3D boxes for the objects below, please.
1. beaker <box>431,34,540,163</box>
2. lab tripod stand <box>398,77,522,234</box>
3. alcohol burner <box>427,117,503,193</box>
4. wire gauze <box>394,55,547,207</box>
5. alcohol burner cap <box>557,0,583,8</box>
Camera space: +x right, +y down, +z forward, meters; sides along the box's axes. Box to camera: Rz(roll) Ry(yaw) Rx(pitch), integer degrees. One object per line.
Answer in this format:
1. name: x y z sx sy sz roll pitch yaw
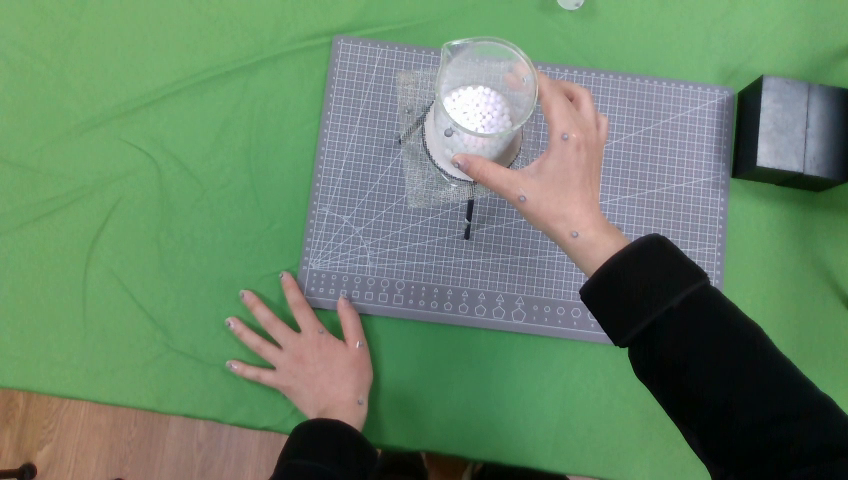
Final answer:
1. beaker: 0.040 -0.107 0.477 0.074 0.100 0.084 -42 87 -6
2. lab tripod stand: 0.041 -0.086 0.589 0.148 0.131 0.148 0 84 -4
3. alcohol burner: 0.042 -0.089 0.599 0.078 0.119 0.077 0 81 -1
4. wire gauze: 0.039 -0.096 0.524 0.121 0.011 0.125 -6 87 -1
5. alcohol burner cap: 0.165 -0.281 0.666 0.034 0.048 0.034 0 83 1
